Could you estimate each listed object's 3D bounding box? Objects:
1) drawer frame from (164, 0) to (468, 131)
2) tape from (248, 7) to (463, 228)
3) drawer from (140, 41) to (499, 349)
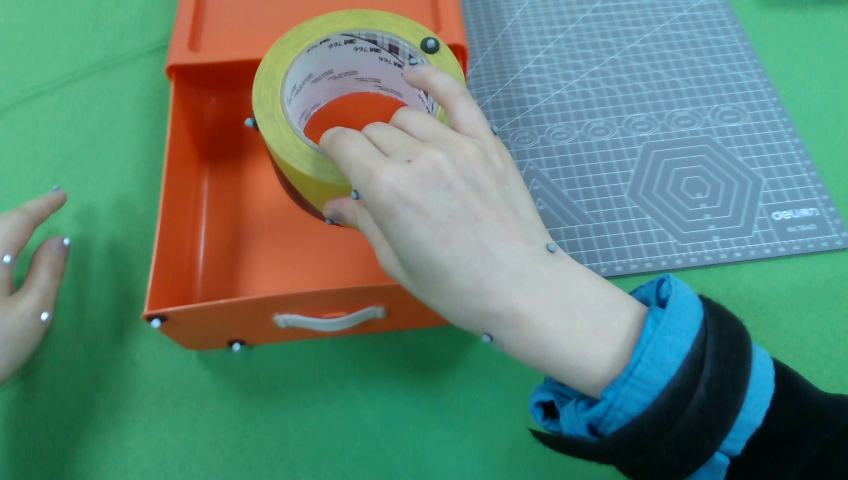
[{"bbox_3d":[-0.077,-0.192,0.471,0.202,0.083,0.211,-5,61,-1],"label":"drawer frame"},{"bbox_3d":[-0.034,-0.066,0.335,0.117,0.053,0.116,1,68,-3],"label":"tape"},{"bbox_3d":[-0.064,-0.043,0.397,0.194,0.074,0.210,-6,63,-1],"label":"drawer"}]
